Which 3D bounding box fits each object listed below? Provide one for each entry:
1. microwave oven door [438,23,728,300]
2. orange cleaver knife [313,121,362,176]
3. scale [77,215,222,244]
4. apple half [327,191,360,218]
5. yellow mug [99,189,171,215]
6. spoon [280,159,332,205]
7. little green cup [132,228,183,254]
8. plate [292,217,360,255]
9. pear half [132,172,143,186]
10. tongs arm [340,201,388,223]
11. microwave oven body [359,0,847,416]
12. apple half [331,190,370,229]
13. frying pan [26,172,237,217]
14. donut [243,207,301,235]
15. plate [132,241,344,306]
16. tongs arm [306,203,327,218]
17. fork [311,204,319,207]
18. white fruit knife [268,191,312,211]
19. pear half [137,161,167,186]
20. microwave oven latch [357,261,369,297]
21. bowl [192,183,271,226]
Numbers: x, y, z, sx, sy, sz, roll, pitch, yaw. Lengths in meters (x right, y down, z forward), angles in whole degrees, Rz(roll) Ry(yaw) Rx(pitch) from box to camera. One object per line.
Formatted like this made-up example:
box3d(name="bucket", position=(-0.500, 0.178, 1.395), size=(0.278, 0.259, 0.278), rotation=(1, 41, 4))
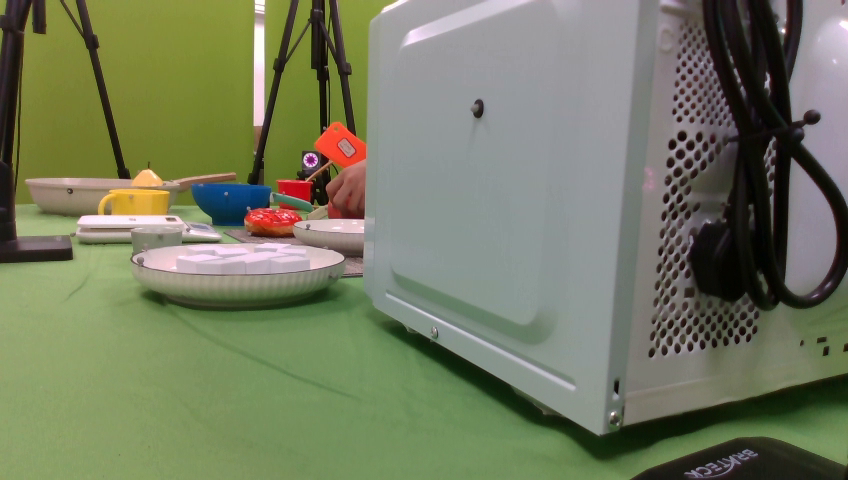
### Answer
box3d(name="microwave oven door", position=(0.181, -0.073, 0.621), size=(0.358, 0.243, 0.039), rotation=(-2, 8, -29))
box3d(name="orange cleaver knife", position=(-0.112, -0.162, 1.194), size=(0.212, 0.077, 0.012), rotation=(26, 7, -16))
box3d(name="scale", position=(-0.434, -0.019, 0.963), size=(0.202, 0.031, 0.148), rotation=(-1, 9, -27))
box3d(name="apple half", position=(-0.146, -0.052, 1.121), size=(0.081, 0.074, 0.053), rotation=(9, 16, 10))
box3d(name="yellow mug", position=(-0.519, -0.055, 1.080), size=(0.099, 0.064, 0.131), rotation=(7, 10, 26))
box3d(name="spoon", position=(-0.316, -0.159, 1.640), size=(0.194, 0.022, 0.041), rotation=(-50, 32, -20))
box3d(name="little green cup", position=(-0.342, 0.006, 0.779), size=(0.061, 0.038, 0.061), rotation=(2, 8, 0))
box3d(name="plate", position=(-0.098, -0.007, 0.928), size=(0.209, 0.038, 0.209), rotation=(2, 8, 0))
box3d(name="pear half", position=(-0.638, -0.113, 1.361), size=(0.031, 0.088, 0.070), rotation=(5, 11, 4))
box3d(name="tongs arm", position=(-0.149, -0.070, 1.429), size=(0.051, 0.026, 0.383), rotation=(-3, 8, -15))
box3d(name="microwave oven body", position=(0.211, -0.047, 0.474), size=(0.444, 0.260, 0.324), rotation=(-1, 7, -28))
box3d(name="apple half", position=(-0.137, -0.060, 1.158), size=(0.081, 0.081, 0.033), rotation=(3, 13, 10))
box3d(name="frying pan", position=(-0.624, -0.118, 1.387), size=(0.305, 0.102, 0.490), rotation=(8, 17, 32))
box3d(name="donut", position=(-0.261, -0.032, 1.043), size=(0.099, 0.048, 0.099), rotation=(4, 9, 0))
box3d(name="plate", position=(-0.187, 0.033, 0.625), size=(0.208, 0.039, 0.207), rotation=(2, 8, 0))
box3d(name="tongs arm", position=(-0.234, -0.068, 1.414), size=(0.028, 0.028, 0.387), rotation=(-5, 7, 0))
box3d(name="fork", position=(-0.356, -0.105, 1.526), size=(0.208, 0.018, 0.028), rotation=(16, -6, -41))
box3d(name="white fruit knife", position=(-0.364, -0.105, 1.464), size=(0.208, 0.027, 0.016), rotation=(15, 0, -34))
box3d(name="pear half", position=(-0.602, -0.120, 1.354), size=(0.056, 0.110, 0.076), rotation=(4, 11, 6))
box3d(name="microwave oven latch", position=(-0.019, 0.033, 0.531), size=(0.079, 0.029, 0.030), rotation=(-1, 7, -27))
box3d(name="bowl", position=(-0.382, -0.071, 1.202), size=(0.151, 0.077, 0.151), rotation=(3, 7, 0))
